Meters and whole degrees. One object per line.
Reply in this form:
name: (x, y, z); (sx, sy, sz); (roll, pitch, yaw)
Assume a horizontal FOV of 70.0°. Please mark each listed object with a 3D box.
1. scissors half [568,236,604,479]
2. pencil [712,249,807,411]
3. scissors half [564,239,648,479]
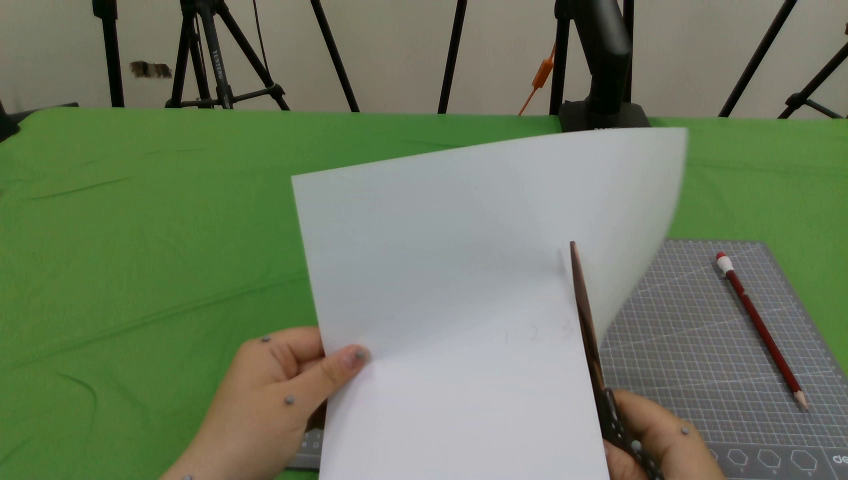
scissors half: (0.095, 0.084, 0.361); (0.013, 0.175, 0.040); (-6, 8, -14)
pencil: (0.298, 0.073, 0.545); (0.012, 0.012, 0.192); (0, 39, 1)
scissors half: (0.099, 0.081, 0.339); (0.013, 0.040, 0.174); (-7, 70, -9)
